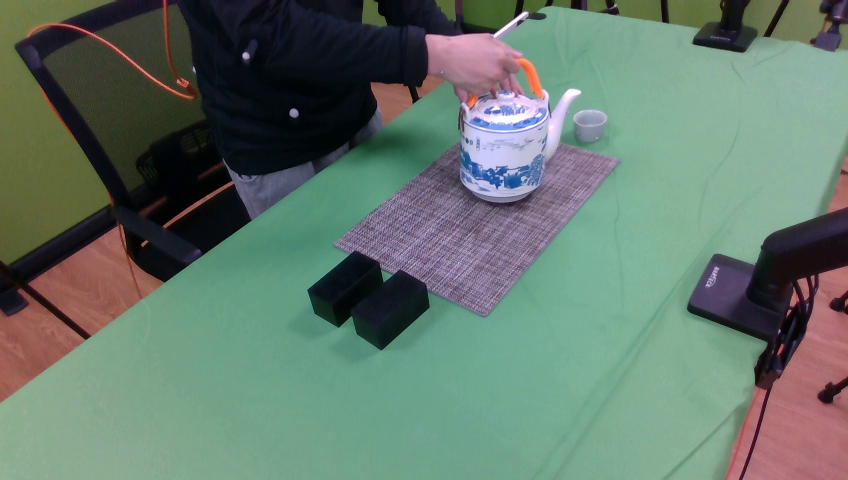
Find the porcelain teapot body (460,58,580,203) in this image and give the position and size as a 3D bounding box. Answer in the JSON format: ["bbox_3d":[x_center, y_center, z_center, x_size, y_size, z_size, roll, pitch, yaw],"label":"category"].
[{"bbox_3d":[0.158,-0.191,0.993,0.206,0.226,0.144,-13,38,-13],"label":"porcelain teapot body"}]

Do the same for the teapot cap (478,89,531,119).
[{"bbox_3d":[0.128,-0.215,0.960,0.085,0.044,0.085,1,38,0],"label":"teapot cap"}]

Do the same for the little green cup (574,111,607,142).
[{"bbox_3d":[0.318,-0.218,1.164,0.061,0.039,0.061,-3,41,3],"label":"little green cup"}]
